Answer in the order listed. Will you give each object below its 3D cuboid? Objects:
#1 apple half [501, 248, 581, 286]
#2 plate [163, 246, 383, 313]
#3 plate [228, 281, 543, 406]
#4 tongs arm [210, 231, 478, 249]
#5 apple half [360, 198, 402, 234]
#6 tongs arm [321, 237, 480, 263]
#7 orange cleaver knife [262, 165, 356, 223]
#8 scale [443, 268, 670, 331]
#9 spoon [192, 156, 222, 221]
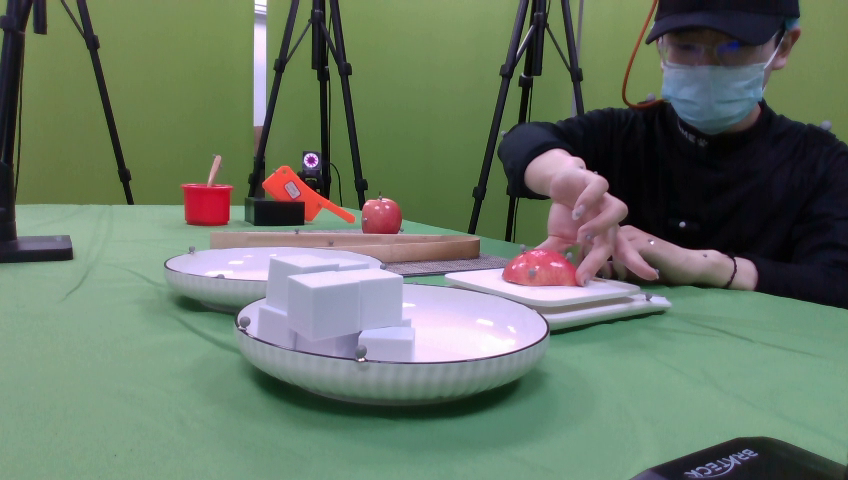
[{"bbox_3d":[0.111,0.023,0.586,0.081,0.033,0.081,2,10,0],"label":"apple half"},{"bbox_3d":[-0.145,0.038,0.600,0.209,0.038,0.209,2,7,0],"label":"plate"},{"bbox_3d":[-0.025,0.067,0.413,0.208,0.039,0.207,3,7,0],"label":"plate"},{"bbox_3d":[-0.106,0.004,0.876,0.386,0.026,0.050,0,7,-20],"label":"tongs arm"},{"bbox_3d":[-0.066,-0.032,1.014,0.053,0.074,0.081,9,6,21],"label":"apple half"},{"bbox_3d":[-0.070,0.017,0.801,0.390,0.028,0.028,-2,5,-34],"label":"tongs arm"},{"bbox_3d":[-0.243,-0.081,1.292,0.212,0.077,0.012,34,-8,-26],"label":"orange cleaver knife"},{"bbox_3d":[0.131,0.052,0.602,0.202,0.031,0.148,-2,9,-37],"label":"scale"},{"bbox_3d":[-0.430,-0.108,1.222,0.041,0.021,0.193,-2,52,1],"label":"spoon"}]
